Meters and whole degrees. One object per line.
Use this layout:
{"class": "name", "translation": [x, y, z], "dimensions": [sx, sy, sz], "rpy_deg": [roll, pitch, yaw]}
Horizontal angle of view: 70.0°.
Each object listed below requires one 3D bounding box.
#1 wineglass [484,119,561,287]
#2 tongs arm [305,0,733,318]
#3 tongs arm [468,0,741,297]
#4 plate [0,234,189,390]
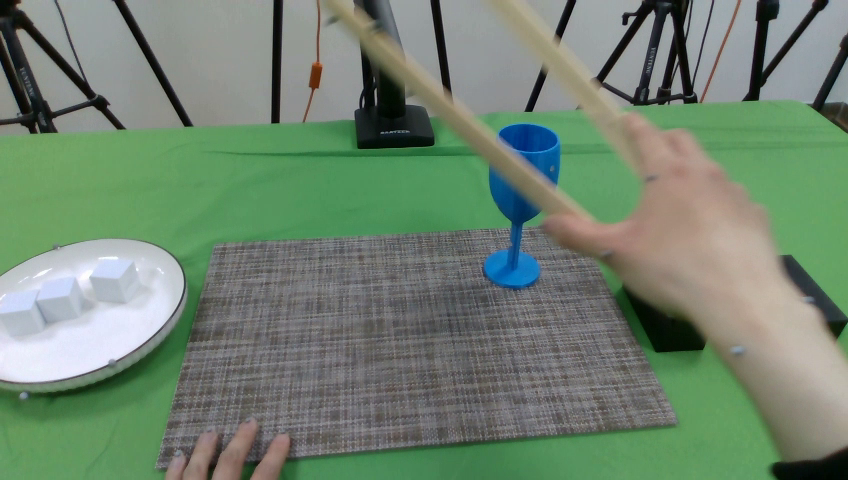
{"class": "wineglass", "translation": [0.102, -0.036, 0.646], "dimensions": [0.074, 0.174, 0.073], "rpy_deg": [1, 39, 0]}
{"class": "tongs arm", "translation": [0.045, -0.079, 0.436], "dimensions": [0.051, 0.027, 0.381], "rpy_deg": [-33, 66, -27]}
{"class": "tongs arm", "translation": [0.106, -0.113, 0.466], "dimensions": [0.028, 0.028, 0.384], "rpy_deg": [-20, 61, -25]}
{"class": "plate", "translation": [-0.344, 0.071, 0.614], "dimensions": [0.209, 0.038, 0.207], "rpy_deg": [1, 39, 0]}
